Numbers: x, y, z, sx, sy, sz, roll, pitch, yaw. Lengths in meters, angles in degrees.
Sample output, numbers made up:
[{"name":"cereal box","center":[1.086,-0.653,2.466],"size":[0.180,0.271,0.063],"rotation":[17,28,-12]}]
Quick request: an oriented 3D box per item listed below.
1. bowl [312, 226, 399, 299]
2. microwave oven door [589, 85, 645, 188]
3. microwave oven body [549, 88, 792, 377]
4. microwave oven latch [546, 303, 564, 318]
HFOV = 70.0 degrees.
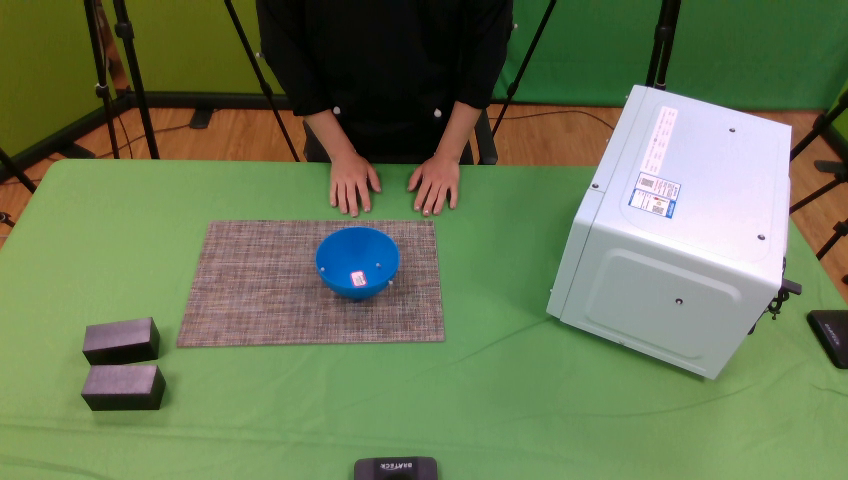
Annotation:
[{"name":"bowl","center":[-0.120,0.054,1.091],"size":[0.151,0.077,0.150],"rotation":[2,46,-2]},{"name":"microwave oven door","center":[0.342,-0.107,1.149],"size":[0.039,0.245,0.354],"rotation":[20,48,15]},{"name":"microwave oven body","center":[0.456,-0.028,1.088],"size":[0.325,0.261,0.440],"rotation":[20,47,16]},{"name":"microwave oven latch","center":[0.242,0.102,1.081],"size":[0.030,0.029,0.079],"rotation":[21,48,17]}]
